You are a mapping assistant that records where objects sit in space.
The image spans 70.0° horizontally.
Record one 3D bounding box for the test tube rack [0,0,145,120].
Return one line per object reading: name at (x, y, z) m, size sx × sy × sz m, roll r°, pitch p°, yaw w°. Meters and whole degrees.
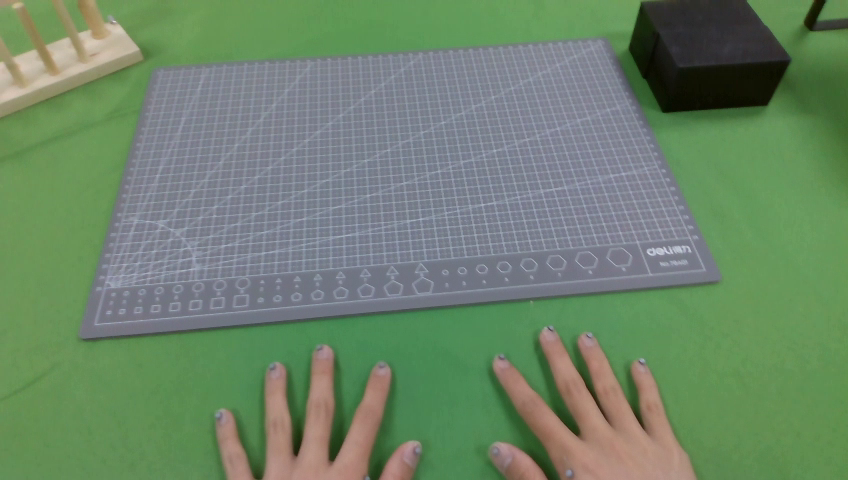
test tube rack at (-0.393, -0.163, 0.540) m, size 0.242 × 0.086 × 0.066 m, roll -32°, pitch 58°, yaw -22°
